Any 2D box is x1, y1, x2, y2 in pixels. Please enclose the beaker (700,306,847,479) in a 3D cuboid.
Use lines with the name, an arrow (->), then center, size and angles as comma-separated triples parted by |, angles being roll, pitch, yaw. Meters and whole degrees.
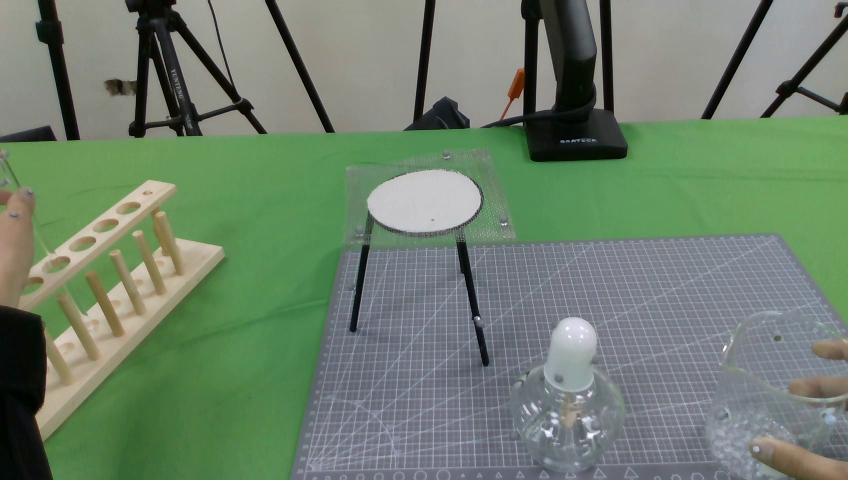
beaker -> 0.225, 0.105, 0.397 | 0.084, 0.101, 0.073 | -4, 37, 1

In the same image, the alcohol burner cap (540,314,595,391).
alcohol burner cap -> 0.092, 0.069, 0.385 | 0.034, 0.048, 0.033 | 0, 35, 1

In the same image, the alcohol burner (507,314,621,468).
alcohol burner -> 0.095, 0.097, 0.407 | 0.078, 0.120, 0.077 | -3, 36, 2

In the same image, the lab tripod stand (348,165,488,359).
lab tripod stand -> 0.001, 0.017, 0.504 | 0.148, 0.133, 0.147 | -3, 39, 3

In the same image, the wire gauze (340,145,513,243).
wire gauze -> -0.003, -0.036, 0.463 | 0.125, 0.011, 0.120 | -6, 37, -1

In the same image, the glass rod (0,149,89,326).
glass rod -> -0.319, -0.007, 0.499 | 0.008, 0.201, 0.008 | -6, 31, 4

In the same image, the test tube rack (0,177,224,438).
test tube rack -> -0.287, 0.045, 0.538 | 0.066, 0.086, 0.241 | 10, 39, 18
